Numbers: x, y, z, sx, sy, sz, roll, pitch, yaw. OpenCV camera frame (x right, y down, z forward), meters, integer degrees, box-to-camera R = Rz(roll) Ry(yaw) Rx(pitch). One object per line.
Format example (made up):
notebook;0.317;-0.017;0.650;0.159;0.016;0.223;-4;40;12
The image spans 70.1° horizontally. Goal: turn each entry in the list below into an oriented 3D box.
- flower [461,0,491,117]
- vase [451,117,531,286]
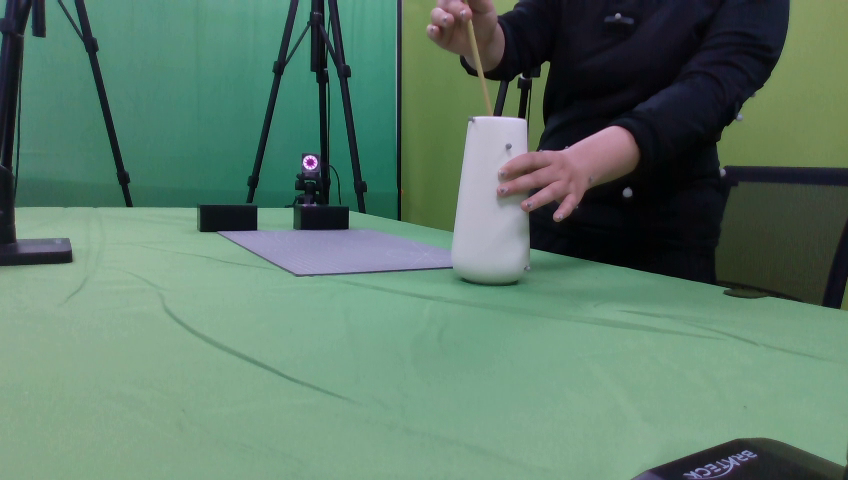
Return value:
flower;0.037;-0.303;0.688;0.038;0.362;0.044;-16;26;2
vase;0.084;-0.047;0.737;0.098;0.200;0.098;1;6;0
